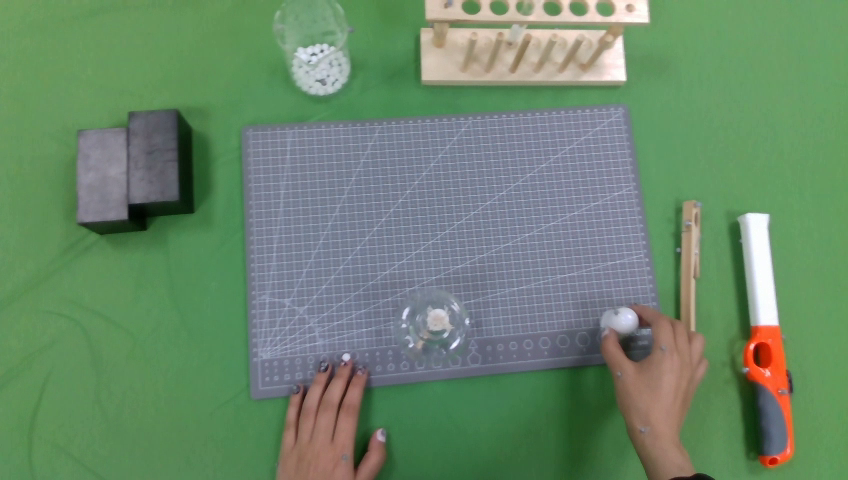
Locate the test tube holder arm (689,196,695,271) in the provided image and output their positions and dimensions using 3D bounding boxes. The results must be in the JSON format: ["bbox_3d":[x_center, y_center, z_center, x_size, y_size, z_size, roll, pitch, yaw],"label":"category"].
[{"bbox_3d":[0.302,-0.008,0.694,0.010,0.015,0.087,15,76,-36],"label":"test tube holder arm"}]

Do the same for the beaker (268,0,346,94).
[{"bbox_3d":[-0.122,-0.208,0.656,0.074,0.100,0.083,-2,79,-5],"label":"beaker"}]

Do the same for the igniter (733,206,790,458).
[{"bbox_3d":[0.374,0.098,0.674,0.057,0.025,0.275,2,79,-14],"label":"igniter"}]

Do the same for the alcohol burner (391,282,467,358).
[{"bbox_3d":[0.007,0.078,0.602,0.078,0.119,0.077,1,78,-6],"label":"alcohol burner"}]

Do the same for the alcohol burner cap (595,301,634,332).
[{"bbox_3d":[0.206,0.081,0.648,0.034,0.048,0.033,1,79,-3],"label":"alcohol burner cap"}]

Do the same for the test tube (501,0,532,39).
[{"bbox_3d":[0.106,-0.254,0.639,0.017,0.150,0.017,1,80,-7],"label":"test tube"}]

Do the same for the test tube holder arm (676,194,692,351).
[{"bbox_3d":[0.293,0.035,0.683,0.013,0.015,0.177,13,78,-37],"label":"test tube holder arm"}]

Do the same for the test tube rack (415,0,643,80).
[{"bbox_3d":[0.114,-0.231,0.686,0.243,0.085,0.066,-1,80,-5],"label":"test tube rack"}]
